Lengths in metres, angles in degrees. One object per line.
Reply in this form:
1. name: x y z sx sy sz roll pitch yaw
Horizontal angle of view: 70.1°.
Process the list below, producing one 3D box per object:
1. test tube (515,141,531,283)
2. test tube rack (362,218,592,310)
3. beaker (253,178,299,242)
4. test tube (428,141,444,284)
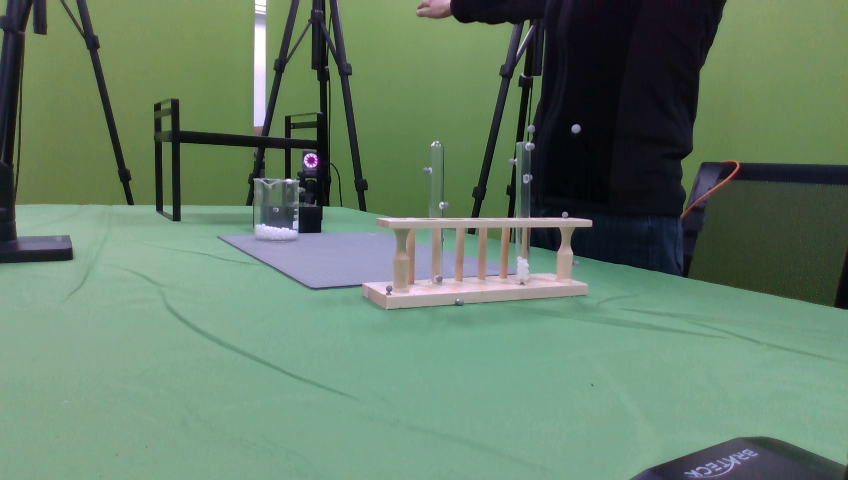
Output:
1. test tube: 0.104 -0.028 0.636 0.017 0.150 0.017 -1 12 1
2. test tube rack: 0.060 0.019 0.640 0.243 0.085 0.066 -1 8 -27
3. beaker: -0.243 -0.050 0.990 0.074 0.100 0.084 2 9 1
4. test tube: 0.013 -0.027 0.629 0.017 0.150 0.017 1 8 0
